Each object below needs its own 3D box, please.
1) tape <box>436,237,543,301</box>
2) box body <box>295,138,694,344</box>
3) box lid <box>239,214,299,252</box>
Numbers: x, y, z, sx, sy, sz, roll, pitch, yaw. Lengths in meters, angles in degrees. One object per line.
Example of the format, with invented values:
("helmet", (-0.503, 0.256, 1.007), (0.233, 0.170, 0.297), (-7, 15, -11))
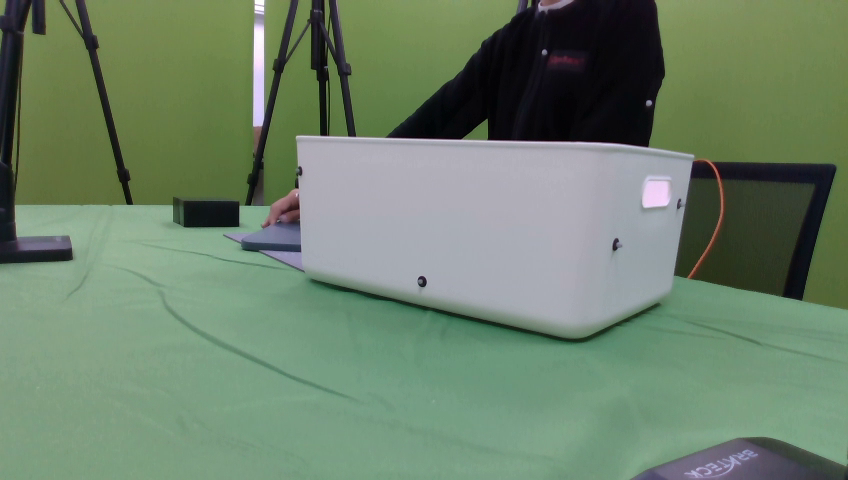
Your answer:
("tape", (0.073, 0.029, 0.658), (0.117, 0.052, 0.117), (3, 7, 0))
("box body", (0.065, -0.020, 0.653), (0.362, 0.160, 0.255), (9, 9, 37))
("box lid", (-0.140, -0.013, 1.056), (0.263, 0.015, 0.371), (4, 9, 1))
